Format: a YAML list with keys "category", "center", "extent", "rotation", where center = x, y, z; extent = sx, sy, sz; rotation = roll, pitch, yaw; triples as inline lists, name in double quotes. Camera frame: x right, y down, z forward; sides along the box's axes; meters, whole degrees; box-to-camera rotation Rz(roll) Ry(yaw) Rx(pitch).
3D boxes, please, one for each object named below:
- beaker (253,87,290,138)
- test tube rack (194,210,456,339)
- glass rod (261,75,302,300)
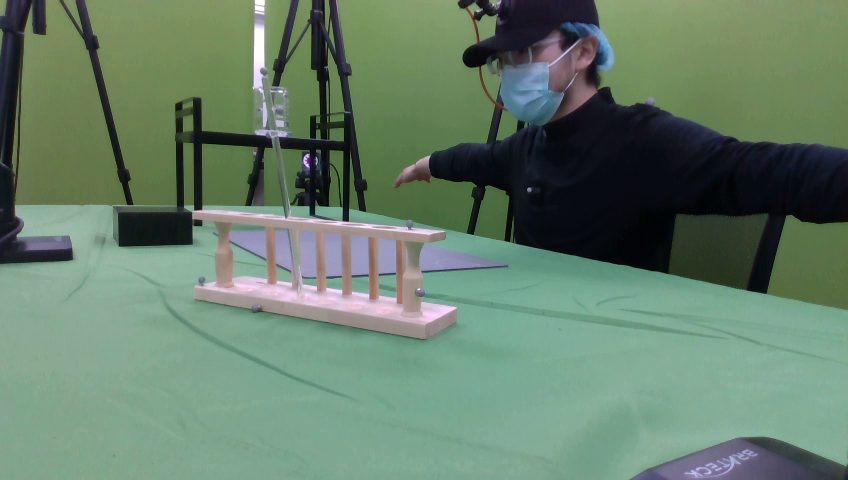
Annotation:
- category: "beaker"
  center: [-0.319, -0.265, 1.259]
  extent: [0.073, 0.100, 0.084]
  rotation: [7, 9, 33]
- category: "test tube rack"
  center: [-0.093, 0.023, 0.546]
  extent: [0.241, 0.085, 0.067]
  rotation: [6, 8, 25]
- category: "glass rod"
  center: [-0.124, -0.043, 0.532]
  extent: [0.008, 0.199, 0.008]
  rotation: [-7, 8, 1]
